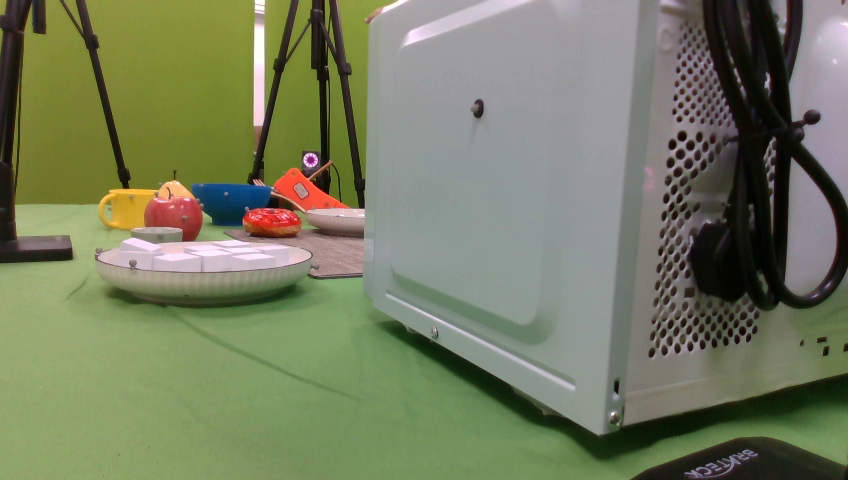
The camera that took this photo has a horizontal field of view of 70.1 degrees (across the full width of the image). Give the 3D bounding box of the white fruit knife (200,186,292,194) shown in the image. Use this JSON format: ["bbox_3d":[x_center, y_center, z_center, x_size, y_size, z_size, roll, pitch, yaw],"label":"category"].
[{"bbox_3d":[-0.399,-0.111,1.368,0.208,0.016,0.027,-4,-19,-29],"label":"white fruit knife"}]

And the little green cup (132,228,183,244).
[{"bbox_3d":[-0.342,0.006,0.779,0.061,0.038,0.061,2,8,0],"label":"little green cup"}]

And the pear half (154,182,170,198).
[{"bbox_3d":[-0.435,-0.053,1.006,0.031,0.088,0.070,3,12,0],"label":"pear half"}]

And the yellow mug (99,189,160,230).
[{"bbox_3d":[-0.518,-0.055,1.080,0.099,0.064,0.131,7,10,26],"label":"yellow mug"}]

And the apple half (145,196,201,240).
[{"bbox_3d":[-0.377,-0.027,0.891,0.080,0.074,0.053,8,12,18],"label":"apple half"}]

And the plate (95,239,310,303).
[{"bbox_3d":[-0.224,0.031,0.629,0.208,0.039,0.207,2,7,0],"label":"plate"}]

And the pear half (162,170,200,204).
[{"bbox_3d":[-0.399,-0.061,1.002,0.056,0.110,0.076,2,11,1],"label":"pear half"}]

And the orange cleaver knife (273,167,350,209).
[{"bbox_3d":[-0.236,-0.087,1.358,0.211,0.077,0.012,31,5,-3],"label":"orange cleaver knife"}]

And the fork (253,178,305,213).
[{"bbox_3d":[-0.295,-0.084,1.293,0.206,0.018,0.028,29,11,26],"label":"fork"}]

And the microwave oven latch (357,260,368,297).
[{"bbox_3d":[-0.019,0.033,0.531,0.079,0.029,0.030,-1,7,-27],"label":"microwave oven latch"}]

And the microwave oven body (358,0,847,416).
[{"bbox_3d":[0.211,-0.047,0.475,0.444,0.260,0.324,-1,8,-28],"label":"microwave oven body"}]

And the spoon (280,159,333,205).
[{"bbox_3d":[-0.316,-0.159,1.639,0.194,0.022,0.041,-49,31,-20],"label":"spoon"}]

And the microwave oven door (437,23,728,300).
[{"bbox_3d":[0.180,-0.072,0.621,0.358,0.243,0.039,-2,8,-29],"label":"microwave oven door"}]

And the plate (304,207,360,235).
[{"bbox_3d":[-0.123,-0.037,1.149,0.209,0.038,0.209,2,7,0],"label":"plate"}]

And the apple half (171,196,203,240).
[{"bbox_3d":[-0.365,-0.033,0.928,0.081,0.081,0.033,5,12,18],"label":"apple half"}]

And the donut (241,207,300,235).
[{"bbox_3d":[-0.263,-0.032,1.039,0.099,0.048,0.099,4,9,0],"label":"donut"}]

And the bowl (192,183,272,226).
[{"bbox_3d":[-0.381,-0.070,1.202,0.151,0.077,0.151,3,7,0],"label":"bowl"}]
